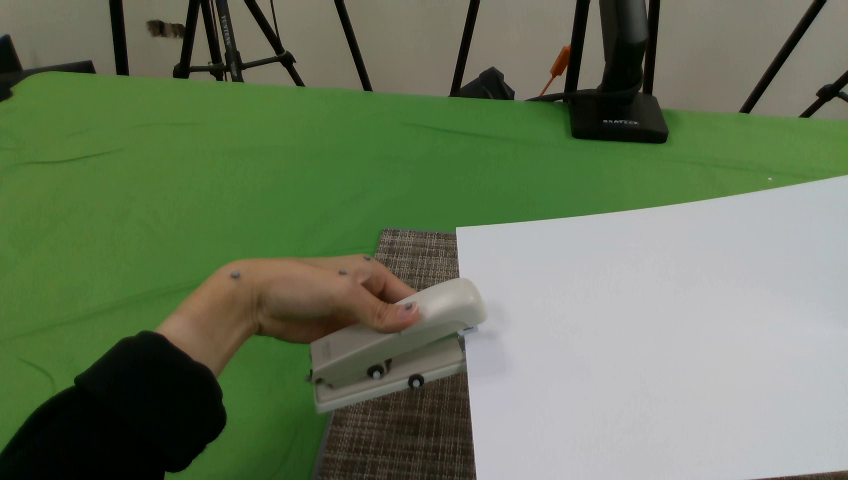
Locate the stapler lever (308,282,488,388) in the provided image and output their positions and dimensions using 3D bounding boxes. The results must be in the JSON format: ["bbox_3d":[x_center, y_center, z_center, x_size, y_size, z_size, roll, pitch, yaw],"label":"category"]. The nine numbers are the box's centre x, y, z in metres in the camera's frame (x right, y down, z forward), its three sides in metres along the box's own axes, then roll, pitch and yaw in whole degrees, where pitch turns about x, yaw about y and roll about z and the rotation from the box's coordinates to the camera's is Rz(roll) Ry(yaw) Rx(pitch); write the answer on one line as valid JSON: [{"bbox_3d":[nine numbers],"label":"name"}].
[{"bbox_3d":[-0.018,0.059,0.381,0.118,0.040,0.026,-16,40,-4],"label":"stapler lever"}]

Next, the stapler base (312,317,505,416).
[{"bbox_3d":[-0.012,0.075,0.398,0.130,0.025,0.041,-17,40,-4],"label":"stapler base"}]
